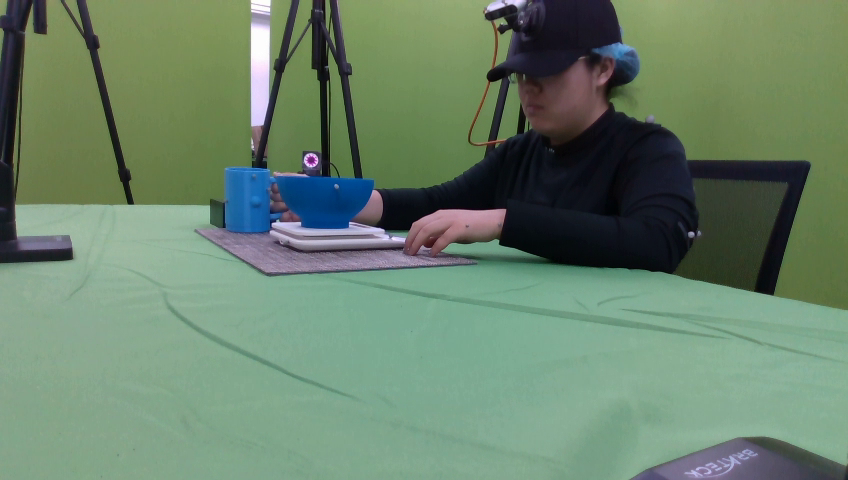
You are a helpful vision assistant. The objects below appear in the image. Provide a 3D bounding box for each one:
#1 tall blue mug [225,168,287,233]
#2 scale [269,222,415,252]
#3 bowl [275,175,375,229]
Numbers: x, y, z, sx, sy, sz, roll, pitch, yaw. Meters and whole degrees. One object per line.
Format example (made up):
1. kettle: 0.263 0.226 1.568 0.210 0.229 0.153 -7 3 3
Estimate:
1. tall blue mug: -0.307 -0.074 1.090 0.077 0.108 0.107 7 11 24
2. scale: -0.130 -0.007 0.958 0.202 0.031 0.148 -1 9 -32
3. bowl: -0.152 -0.058 0.932 0.151 0.077 0.151 3 6 0
